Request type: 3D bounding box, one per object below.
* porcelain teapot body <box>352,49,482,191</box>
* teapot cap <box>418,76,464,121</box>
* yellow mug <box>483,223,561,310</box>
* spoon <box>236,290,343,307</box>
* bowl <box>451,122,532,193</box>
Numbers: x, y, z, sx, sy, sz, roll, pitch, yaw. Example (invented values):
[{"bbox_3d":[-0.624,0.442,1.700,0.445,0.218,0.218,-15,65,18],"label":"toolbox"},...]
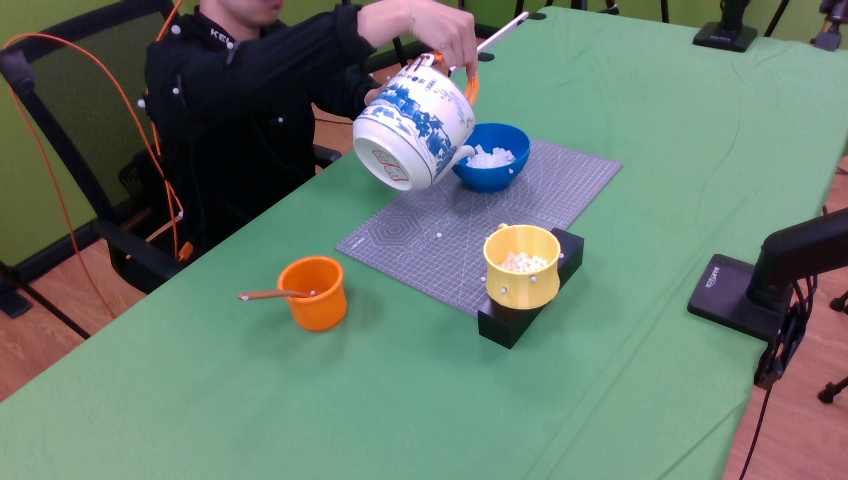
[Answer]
[{"bbox_3d":[0.016,-0.174,0.936,0.144,0.207,0.225,21,65,39],"label":"porcelain teapot body"},{"bbox_3d":[0.028,-0.220,0.929,0.084,0.086,0.044,23,63,31],"label":"teapot cap"},{"bbox_3d":[0.125,0.025,0.811,0.100,0.064,0.130,-16,39,-10],"label":"yellow mug"},{"bbox_3d":[-0.176,0.076,0.808,0.041,0.195,0.021,22,93,30],"label":"spoon"},{"bbox_3d":[0.113,-0.136,1.063,0.151,0.077,0.150,-4,41,4],"label":"bowl"}]
